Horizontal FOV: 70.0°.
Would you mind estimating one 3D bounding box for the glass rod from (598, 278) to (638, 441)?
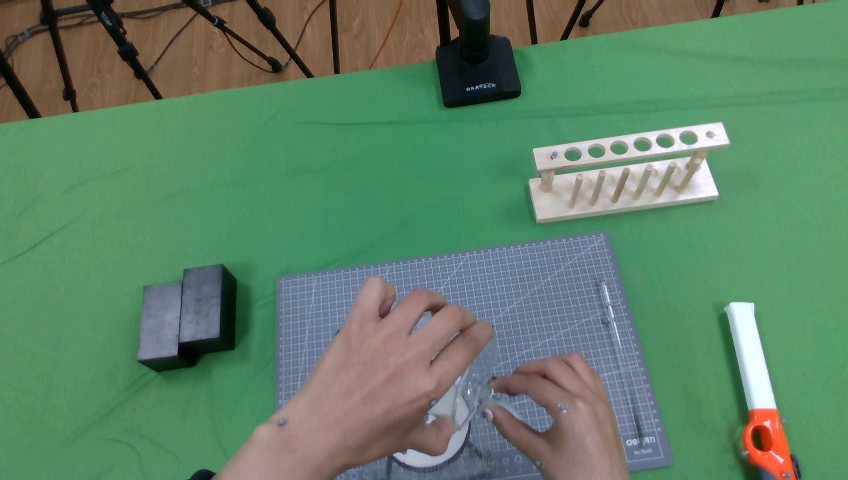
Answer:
[{"bbox_3d":[0.233,0.139,0.730,0.008,0.008,0.198,-7,66,1],"label":"glass rod"}]

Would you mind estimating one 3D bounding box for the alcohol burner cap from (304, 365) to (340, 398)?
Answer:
[{"bbox_3d":[-0.112,0.151,0.653,0.034,0.048,0.033,-3,68,8],"label":"alcohol burner cap"}]

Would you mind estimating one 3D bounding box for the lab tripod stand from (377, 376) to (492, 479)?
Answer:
[{"bbox_3d":[0.002,0.202,0.649,0.148,0.132,0.147,-3,63,6],"label":"lab tripod stand"}]

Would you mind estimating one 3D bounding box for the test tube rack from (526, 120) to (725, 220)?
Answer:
[{"bbox_3d":[0.263,-0.090,0.801,0.242,0.086,0.066,-8,63,1],"label":"test tube rack"}]

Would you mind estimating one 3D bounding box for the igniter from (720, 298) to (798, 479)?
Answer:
[{"bbox_3d":[0.378,0.197,0.682,0.057,0.025,0.274,3,64,-5],"label":"igniter"}]

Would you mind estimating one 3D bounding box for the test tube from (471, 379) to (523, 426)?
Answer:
[{"bbox_3d":[0.069,0.150,0.548,0.017,0.152,0.017,-9,62,17],"label":"test tube"}]

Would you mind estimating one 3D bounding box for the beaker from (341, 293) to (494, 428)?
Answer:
[{"bbox_3d":[-0.005,0.089,0.467,0.099,0.084,0.074,21,77,21],"label":"beaker"}]

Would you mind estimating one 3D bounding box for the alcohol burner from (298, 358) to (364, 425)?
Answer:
[{"bbox_3d":[-0.109,0.167,0.686,0.078,0.120,0.077,-2,61,4],"label":"alcohol burner"}]

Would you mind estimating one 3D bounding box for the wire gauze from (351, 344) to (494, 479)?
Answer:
[{"bbox_3d":[-0.005,0.168,0.590,0.125,0.011,0.120,-11,62,-1],"label":"wire gauze"}]
